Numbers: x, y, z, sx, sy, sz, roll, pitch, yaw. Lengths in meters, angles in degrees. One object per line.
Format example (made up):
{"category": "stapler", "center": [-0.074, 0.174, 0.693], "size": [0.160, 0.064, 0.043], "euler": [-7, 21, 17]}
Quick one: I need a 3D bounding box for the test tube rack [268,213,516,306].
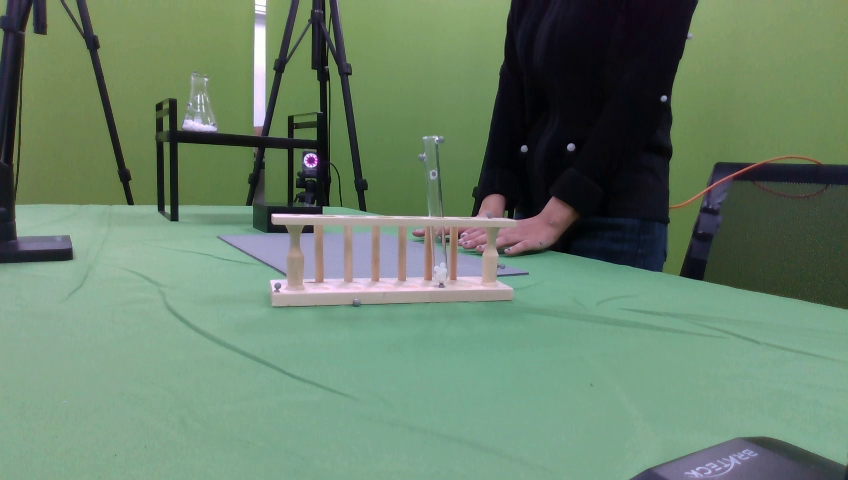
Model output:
{"category": "test tube rack", "center": [-0.032, 0.015, 0.617], "size": [0.243, 0.085, 0.066], "euler": [0, 8, -17]}

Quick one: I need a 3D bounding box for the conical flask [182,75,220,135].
{"category": "conical flask", "center": [-0.475, -0.287, 1.288], "size": [0.075, 0.122, 0.075], "euler": [2, 7, 0]}

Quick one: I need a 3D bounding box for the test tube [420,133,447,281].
{"category": "test tube", "center": [0.010, -0.031, 0.607], "size": [0.017, 0.150, 0.017], "euler": [-5, 10, 1]}
